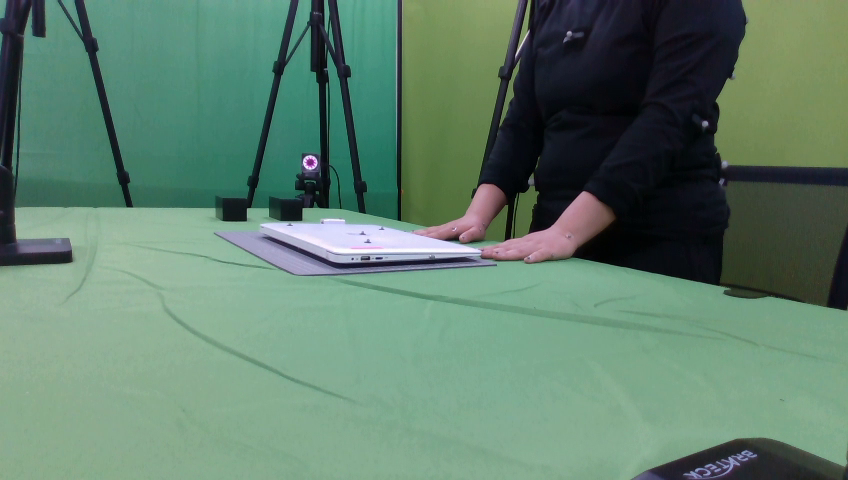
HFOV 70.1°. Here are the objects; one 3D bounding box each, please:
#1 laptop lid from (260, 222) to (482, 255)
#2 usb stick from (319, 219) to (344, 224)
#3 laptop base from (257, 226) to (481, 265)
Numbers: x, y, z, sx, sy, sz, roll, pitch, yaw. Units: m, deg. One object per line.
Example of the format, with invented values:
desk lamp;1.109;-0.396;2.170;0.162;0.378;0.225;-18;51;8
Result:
laptop lid;-0.099;-0.005;0.962;0.243;0.013;0.355;1;7;-30
usb stick;-0.184;-0.027;1.153;0.059;0.027;0.021;-5;14;-31
laptop base;-0.102;0.007;0.962;0.237;0.023;0.352;2;6;-32
